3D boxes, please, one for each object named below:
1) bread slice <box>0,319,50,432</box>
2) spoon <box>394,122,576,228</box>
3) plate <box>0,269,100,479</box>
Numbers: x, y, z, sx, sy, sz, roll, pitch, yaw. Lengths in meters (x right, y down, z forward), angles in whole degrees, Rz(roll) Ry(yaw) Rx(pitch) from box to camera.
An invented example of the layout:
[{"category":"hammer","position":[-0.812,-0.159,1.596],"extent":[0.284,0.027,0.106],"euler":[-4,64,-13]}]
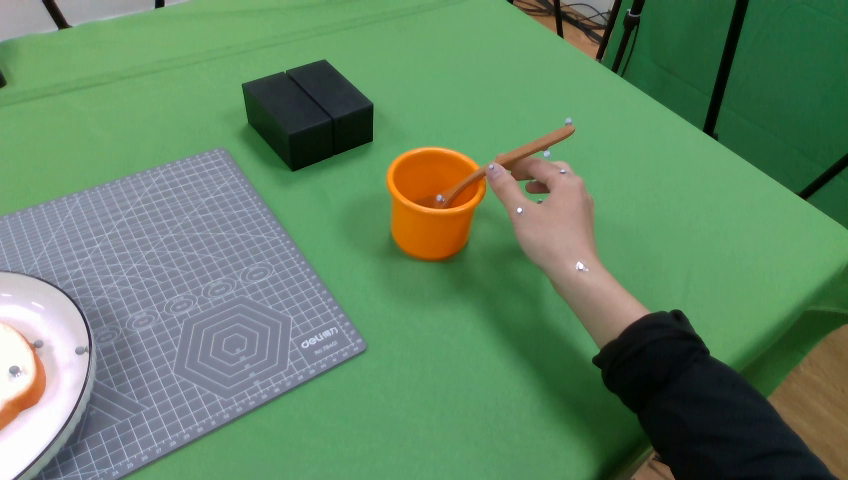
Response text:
[{"category":"bread slice","position":[-0.342,0.109,0.426],"extent":[0.104,0.019,0.131],"euler":[36,55,22]},{"category":"spoon","position":[0.050,-0.058,0.552],"extent":[0.022,0.193,0.041],"euler":[42,35,-29]},{"category":"plate","position":[-0.337,0.111,0.422],"extent":[0.209,0.038,0.207],"euler":[4,48,-4]}]
